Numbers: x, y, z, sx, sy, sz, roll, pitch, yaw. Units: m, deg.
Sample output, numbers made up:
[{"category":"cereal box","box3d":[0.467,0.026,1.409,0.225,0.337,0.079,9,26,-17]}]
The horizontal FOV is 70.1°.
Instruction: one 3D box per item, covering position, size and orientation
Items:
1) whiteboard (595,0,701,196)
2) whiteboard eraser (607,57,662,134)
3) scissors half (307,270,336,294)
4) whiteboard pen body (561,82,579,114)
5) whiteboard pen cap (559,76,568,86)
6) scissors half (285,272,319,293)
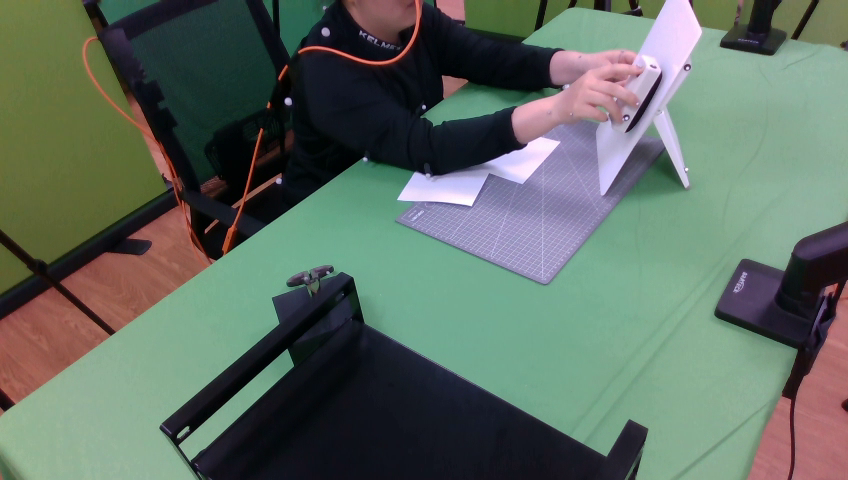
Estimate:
[{"category":"whiteboard","box3d":[0.421,-0.227,1.010,0.144,0.305,0.216,18,42,-2]},{"category":"whiteboard eraser","box3d":[0.331,-0.225,0.947,0.042,0.112,0.055,19,38,-4]},{"category":"scissors half","box3d":[-0.152,0.061,0.872,0.040,0.013,0.175,-5,6,-3]},{"category":"whiteboard pen body","box3d":[0.311,-0.311,1.298,0.017,0.017,0.140,-6,40,3]},{"category":"whiteboard pen cap","box3d":[0.310,-0.350,1.340,0.018,0.018,0.033,-6,40,2]},{"category":"scissors half","box3d":[-0.172,0.063,0.868,0.040,0.013,0.174,-13,8,-21]}]
